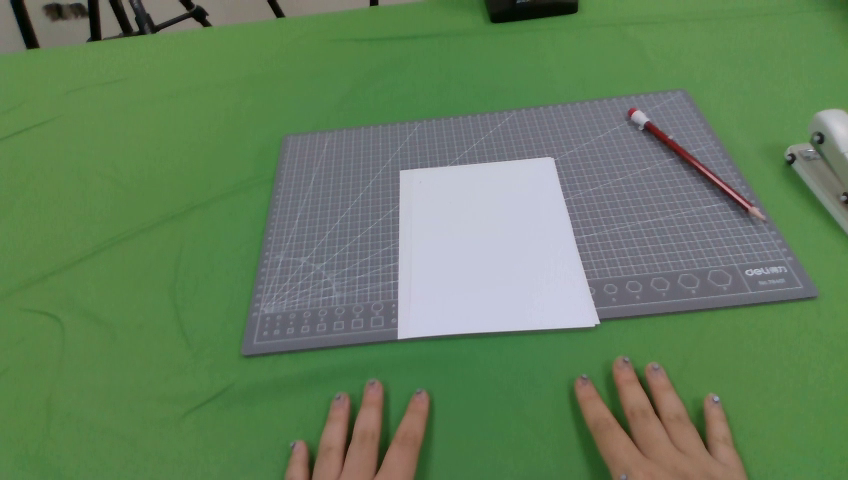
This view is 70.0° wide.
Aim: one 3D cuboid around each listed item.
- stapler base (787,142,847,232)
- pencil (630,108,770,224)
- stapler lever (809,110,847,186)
[{"bbox_3d":[0.370,-0.050,0.532,0.041,0.025,0.129,-9,47,3],"label":"stapler base"},{"bbox_3d":[0.256,-0.075,0.575,0.012,0.012,0.192,-20,47,-11],"label":"pencil"},{"bbox_3d":[0.368,-0.066,0.513,0.027,0.040,0.117,-10,46,3],"label":"stapler lever"}]
